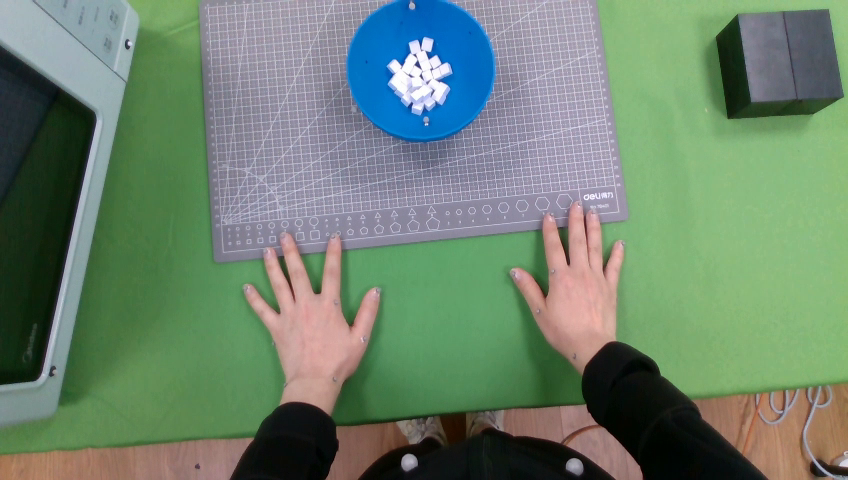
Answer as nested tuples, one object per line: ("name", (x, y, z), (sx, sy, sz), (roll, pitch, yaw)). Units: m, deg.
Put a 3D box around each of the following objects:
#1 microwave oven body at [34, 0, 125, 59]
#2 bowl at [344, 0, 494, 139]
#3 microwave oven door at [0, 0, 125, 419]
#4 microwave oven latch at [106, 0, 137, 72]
("microwave oven body", (-0.500, -0.084, 0.525), (0.326, 0.260, 0.440), (8, 83, 0))
("bowl", (-0.005, -0.171, 0.639), (0.151, 0.077, 0.151), (0, 82, -1))
("microwave oven door", (-0.361, -0.023, 0.514), (0.039, 0.244, 0.354), (8, 82, 1))
("microwave oven latch", (-0.329, -0.223, 0.644), (0.030, 0.029, 0.079), (9, 83, 0))
